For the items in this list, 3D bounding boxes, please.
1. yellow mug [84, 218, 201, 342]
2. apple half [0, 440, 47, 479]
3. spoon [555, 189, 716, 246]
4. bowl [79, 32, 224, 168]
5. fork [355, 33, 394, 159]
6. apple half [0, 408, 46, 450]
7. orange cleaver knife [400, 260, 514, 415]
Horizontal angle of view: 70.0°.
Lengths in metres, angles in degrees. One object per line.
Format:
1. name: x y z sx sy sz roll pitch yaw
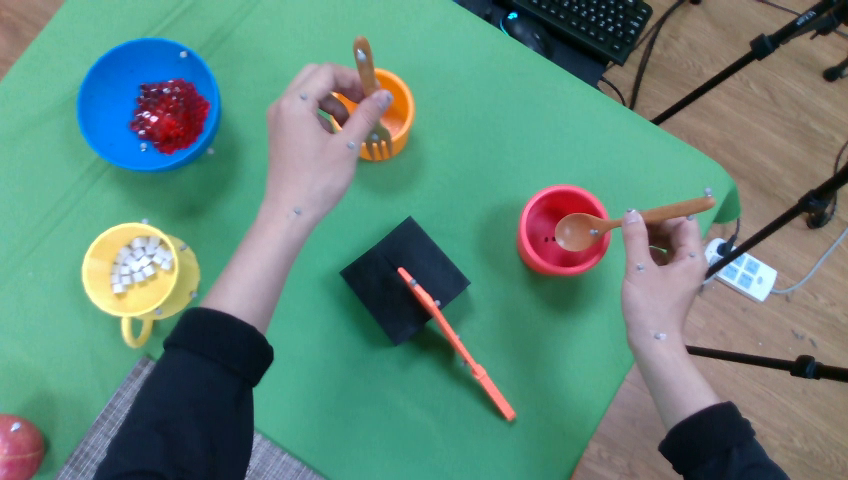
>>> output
1. yellow mug: -0.304 0.046 0.658 0.100 0.064 0.130 2 82 -2
2. apple half: -0.439 0.227 0.622 0.081 0.074 0.053 14 85 -3
3. spoon: 0.191 -0.022 0.577 0.022 0.193 0.041 -4 85 -25
4. bowl: -0.292 -0.146 0.683 0.151 0.077 0.151 0 82 -2
5. fork: -0.043 -0.116 0.527 0.028 0.208 0.018 -13 78 -3
6. apple half: -0.431 0.190 0.627 0.081 0.081 0.032 13 84 1
7. orange cleaver knife: 0.036 0.107 0.649 0.012 0.076 0.213 -37 116 -5
